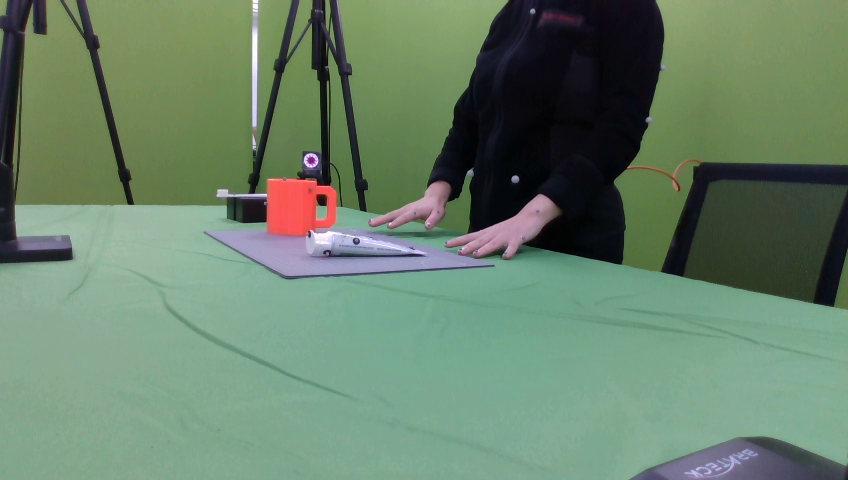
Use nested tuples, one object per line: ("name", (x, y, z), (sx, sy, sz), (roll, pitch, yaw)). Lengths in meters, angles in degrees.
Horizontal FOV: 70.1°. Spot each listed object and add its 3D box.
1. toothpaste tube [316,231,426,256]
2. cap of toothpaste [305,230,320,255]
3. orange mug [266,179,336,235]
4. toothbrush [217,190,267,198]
("toothpaste tube", (-0.080, 0.009, 0.870), (0.166, 0.034, 0.055), (4, 11, -26))
("cap of toothpaste", (-0.154, 0.003, 0.836), (0.011, 0.037, 0.037), (-3, 9, -34))
("orange mug", (-0.222, -0.062, 1.094), (0.127, 0.101, 0.083), (-5, 10, -22))
("toothbrush", (-0.344, -0.096, 1.282), (0.183, 0.016, 0.014), (-1, 4, -27))
